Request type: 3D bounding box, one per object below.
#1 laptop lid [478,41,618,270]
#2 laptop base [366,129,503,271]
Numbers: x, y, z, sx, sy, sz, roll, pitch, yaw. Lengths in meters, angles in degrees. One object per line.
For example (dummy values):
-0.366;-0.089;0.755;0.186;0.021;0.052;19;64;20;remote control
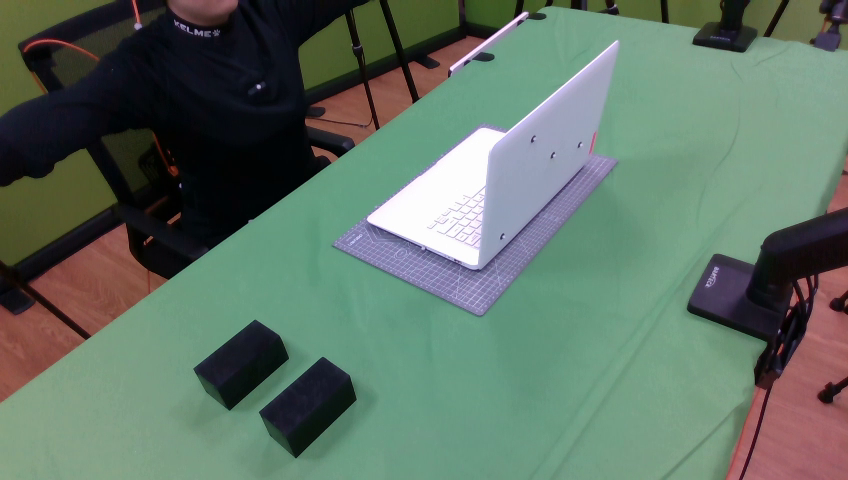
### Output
0.191;-0.130;0.912;0.013;0.242;0.358;29;50;26;laptop lid
0.099;-0.086;1.059;0.233;0.023;0.355;21;48;34;laptop base
